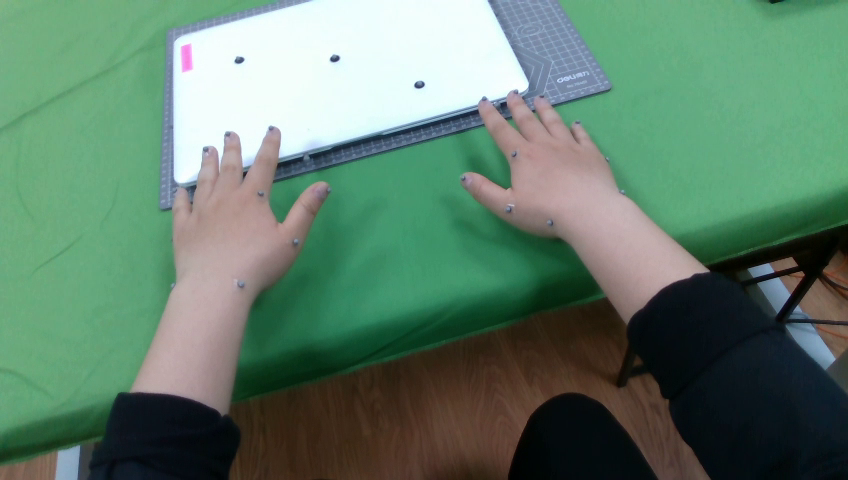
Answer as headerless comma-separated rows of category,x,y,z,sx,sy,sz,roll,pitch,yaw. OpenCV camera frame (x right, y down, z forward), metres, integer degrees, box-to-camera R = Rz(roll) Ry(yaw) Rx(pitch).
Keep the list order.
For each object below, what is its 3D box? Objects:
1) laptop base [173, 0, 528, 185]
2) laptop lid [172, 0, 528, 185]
laptop base,-0.092,-0.184,0.649,0.354,0.023,0.233,-16,57,-2
laptop lid,-0.093,-0.189,0.639,0.357,0.013,0.239,-14,56,-1
